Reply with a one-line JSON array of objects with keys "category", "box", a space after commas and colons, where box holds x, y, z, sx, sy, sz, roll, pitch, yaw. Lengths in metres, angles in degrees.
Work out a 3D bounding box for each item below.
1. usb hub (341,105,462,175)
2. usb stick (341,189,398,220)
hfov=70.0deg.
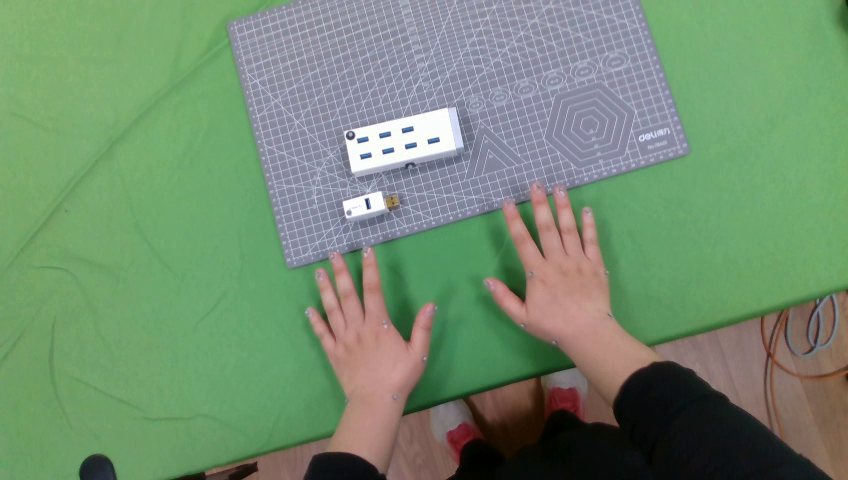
[{"category": "usb hub", "box": [-0.024, -0.109, 0.657, 0.125, 0.025, 0.049, -12, 83, 4]}, {"category": "usb stick", "box": [-0.058, -0.040, 0.653, 0.059, 0.027, 0.021, -14, 82, 2]}]
